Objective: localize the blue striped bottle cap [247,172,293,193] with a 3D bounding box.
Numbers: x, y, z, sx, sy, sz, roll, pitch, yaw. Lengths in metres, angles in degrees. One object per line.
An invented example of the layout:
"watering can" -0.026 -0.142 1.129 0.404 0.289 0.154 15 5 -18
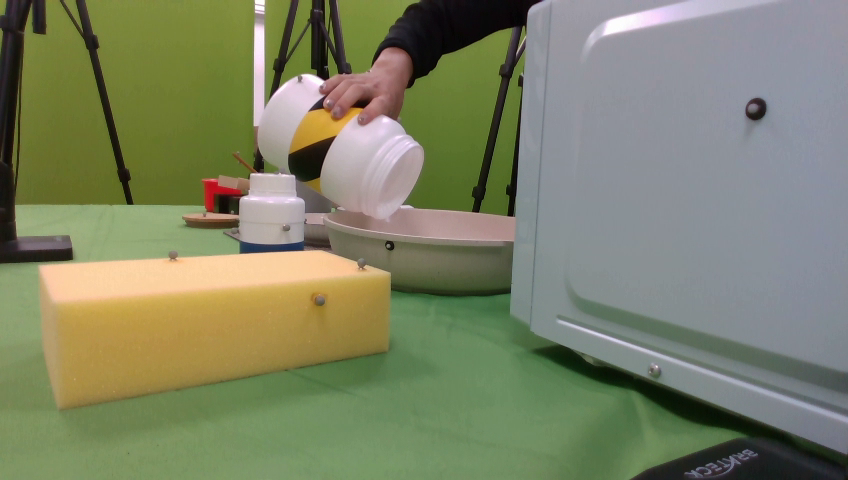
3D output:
"blue striped bottle cap" -0.152 -0.057 0.598 0.044 0.020 0.044 3 7 0

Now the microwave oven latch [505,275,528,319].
"microwave oven latch" 0.100 0.042 0.471 0.079 0.029 0.030 -1 7 -29

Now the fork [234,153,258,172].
"fork" -0.396 -0.143 1.486 0.028 0.018 0.208 20 -26 45

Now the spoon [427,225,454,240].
"spoon" 0.024 -0.019 1.124 0.042 0.021 0.193 -15 9 -4

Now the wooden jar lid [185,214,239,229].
"wooden jar lid" -0.404 -0.037 1.169 0.108 0.020 0.108 3 7 0

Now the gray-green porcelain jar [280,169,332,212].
"gray-green porcelain jar" -0.238 -0.092 1.221 0.106 0.126 0.106 2 7 0

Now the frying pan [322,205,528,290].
"frying pan" 0.109 -0.017 0.800 0.490 0.102 0.305 -12 16 -30

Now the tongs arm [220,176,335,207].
"tongs arm" -0.285 -0.105 1.445 0.389 0.027 0.028 9 -3 -23

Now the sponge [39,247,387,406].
"sponge" -0.142 0.047 0.420 0.208 0.061 0.117 -3 10 -36

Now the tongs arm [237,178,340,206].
"tongs arm" -0.241 -0.095 1.374 0.387 0.026 0.050 9 0 -37

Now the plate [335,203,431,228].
"plate" -0.089 -0.053 1.309 0.208 0.039 0.207 2 8 0

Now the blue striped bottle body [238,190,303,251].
"blue striped bottle body" -0.153 -0.007 0.605 0.063 0.120 0.063 2 7 0

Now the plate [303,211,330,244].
"plate" -0.139 -0.022 1.021 0.209 0.038 0.209 2 8 0

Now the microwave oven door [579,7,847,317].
"microwave oven door" 0.294 -0.067 0.570 0.358 0.243 0.039 -3 9 -31

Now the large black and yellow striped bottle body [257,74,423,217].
"large black and yellow striped bottle body" -0.106 -0.119 0.782 0.183 0.130 0.131 31 16 15

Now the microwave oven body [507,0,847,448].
"microwave oven body" 0.331 -0.042 0.425 0.444 0.260 0.324 -2 8 -31
